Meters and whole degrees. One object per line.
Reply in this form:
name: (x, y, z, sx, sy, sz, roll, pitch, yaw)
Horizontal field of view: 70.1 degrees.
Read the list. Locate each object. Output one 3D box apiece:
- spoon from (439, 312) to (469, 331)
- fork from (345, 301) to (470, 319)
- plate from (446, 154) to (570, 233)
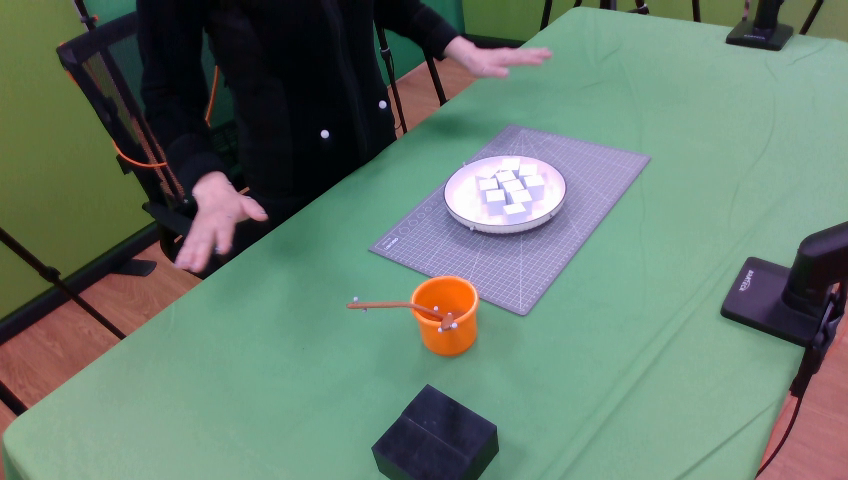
spoon: (0.033, 0.101, 0.760, 0.041, 0.194, 0.021, 0, 83, 7)
fork: (-0.016, 0.090, 0.775, 0.209, 0.018, 0.028, 14, -2, -44)
plate: (0.142, -0.076, 1.033, 0.207, 0.039, 0.206, -5, 40, 5)
